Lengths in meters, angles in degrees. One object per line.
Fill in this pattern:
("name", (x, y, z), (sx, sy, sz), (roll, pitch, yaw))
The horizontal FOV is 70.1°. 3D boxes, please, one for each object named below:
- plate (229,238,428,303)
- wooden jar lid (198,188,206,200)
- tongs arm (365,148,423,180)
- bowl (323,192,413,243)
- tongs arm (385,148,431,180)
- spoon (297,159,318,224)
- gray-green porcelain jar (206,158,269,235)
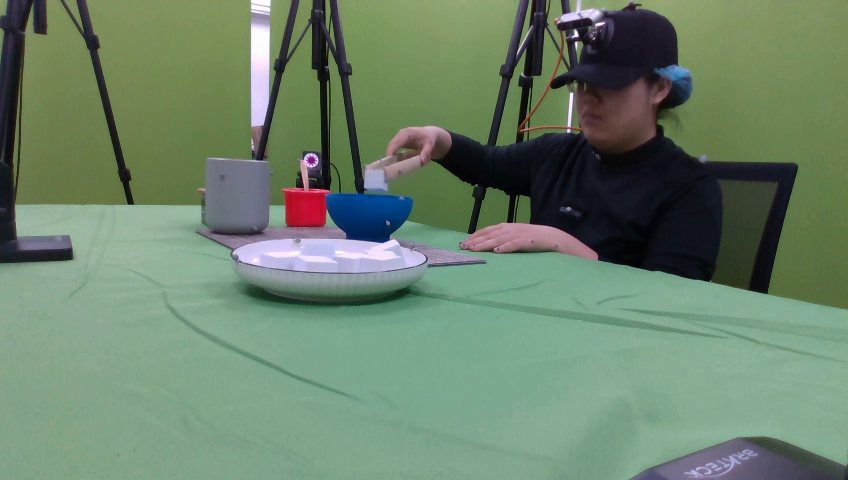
("plate", (-0.099, 0.032, 0.651), (0.209, 0.038, 0.209), (3, 8, 0))
("wooden jar lid", (-0.382, -0.088, 1.175), (0.108, 0.020, 0.108), (3, 8, 0))
("tongs arm", (-0.051, -0.155, 1.201), (0.051, 0.026, 0.385), (-1, 13, 7))
("bowl", (-0.094, -0.037, 1.015), (0.151, 0.077, 0.151), (2, 7, 0))
("tongs arm", (-0.027, -0.154, 1.197), (0.028, 0.028, 0.388), (-3, 12, 12))
("spoon", (-0.244, -0.103, 1.251), (0.042, 0.021, 0.193), (1, 51, -17))
("gray-green porcelain jar", (-0.322, -0.076, 1.048), (0.106, 0.126, 0.106), (3, 7, 0))
